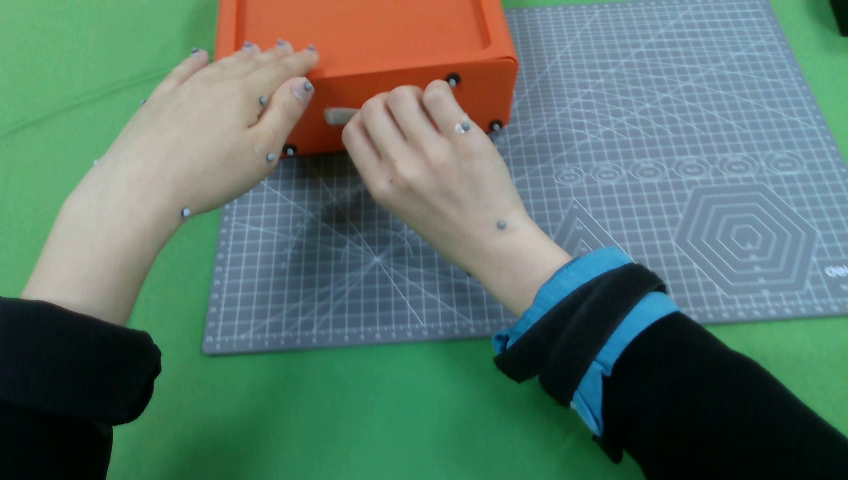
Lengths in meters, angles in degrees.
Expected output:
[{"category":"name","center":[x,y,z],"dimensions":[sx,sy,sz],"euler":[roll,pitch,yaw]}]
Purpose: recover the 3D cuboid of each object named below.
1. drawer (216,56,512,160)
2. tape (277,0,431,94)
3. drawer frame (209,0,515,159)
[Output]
[{"category":"drawer","center":[-0.050,-0.172,0.468],"dimensions":[0.194,0.074,0.209],"euler":[-8,60,-2]},{"category":"tape","center":[-0.052,-0.174,0.475],"dimensions":[0.117,0.053,0.116],"euler":[0,62,1]},{"category":"drawer frame","center":[-0.052,-0.175,0.468],"dimensions":[0.202,0.083,0.211],"euler":[-8,60,-3]}]
